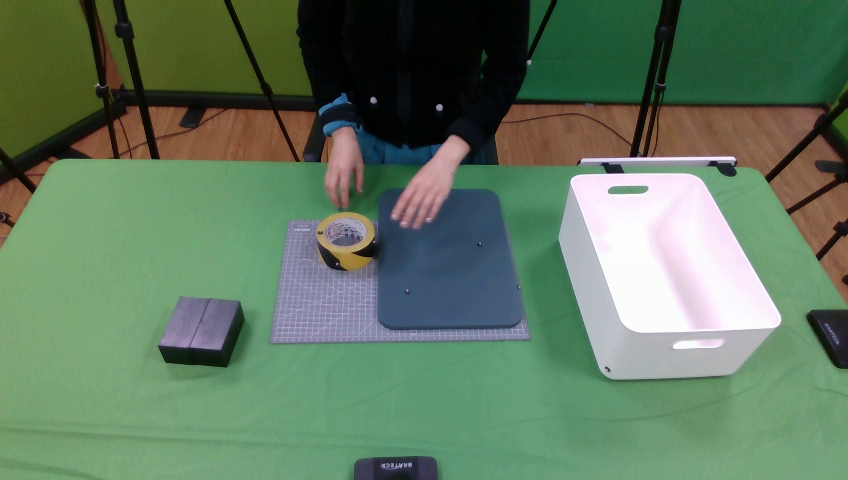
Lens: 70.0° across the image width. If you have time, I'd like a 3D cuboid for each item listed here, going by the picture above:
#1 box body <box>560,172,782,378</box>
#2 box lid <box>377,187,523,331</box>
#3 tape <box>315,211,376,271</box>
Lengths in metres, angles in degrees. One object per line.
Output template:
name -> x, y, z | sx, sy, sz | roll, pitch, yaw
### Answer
box body -> 0.405, 0.057, 1.074 | 0.254, 0.161, 0.361 | -2, 46, -5
box lid -> 0.040, 0.024, 1.182 | 0.263, 0.015, 0.369 | -1, 46, -4
tape -> -0.150, 0.000, 1.161 | 0.117, 0.053, 0.116 | 3, 46, -3
